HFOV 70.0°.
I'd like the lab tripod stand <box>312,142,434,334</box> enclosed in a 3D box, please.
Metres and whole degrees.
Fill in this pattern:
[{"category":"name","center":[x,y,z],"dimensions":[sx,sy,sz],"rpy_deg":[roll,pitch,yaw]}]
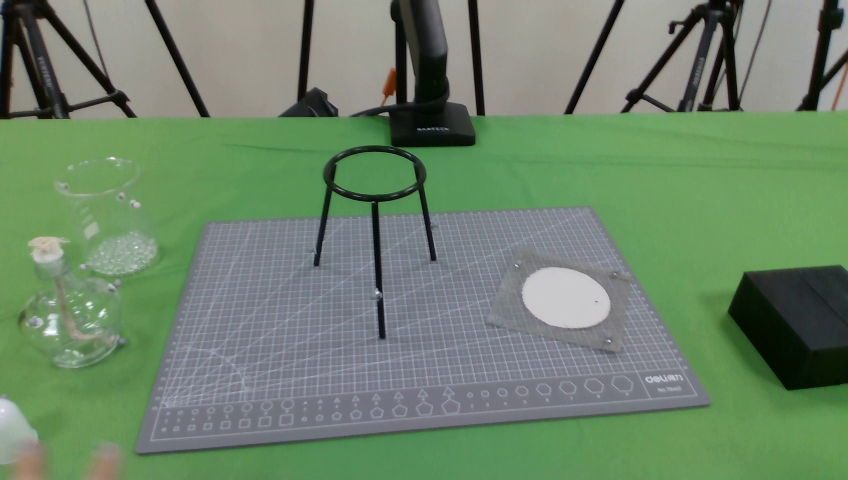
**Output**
[{"category":"lab tripod stand","center":[-0.044,-0.009,0.558],"dimensions":[0.148,0.132,0.147],"rpy_deg":[3,38,-2]}]

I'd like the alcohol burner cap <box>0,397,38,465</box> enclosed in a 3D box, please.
[{"category":"alcohol burner cap","center":[-0.303,0.134,0.434],"dimensions":[0.034,0.048,0.033],"rpy_deg":[2,36,-1]}]

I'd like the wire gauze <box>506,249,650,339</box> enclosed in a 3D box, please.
[{"category":"wire gauze","center":[0.141,0.045,0.574],"dimensions":[0.125,0.011,0.120],"rpy_deg":[7,34,-5]}]

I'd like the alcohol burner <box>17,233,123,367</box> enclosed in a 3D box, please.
[{"category":"alcohol burner","center":[-0.292,0.045,0.493],"dimensions":[0.078,0.120,0.077],"rpy_deg":[2,35,-1]}]

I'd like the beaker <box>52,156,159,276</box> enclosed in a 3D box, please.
[{"category":"beaker","center":[-0.307,-0.023,0.597],"dimensions":[0.074,0.101,0.083],"rpy_deg":[5,36,3]}]
